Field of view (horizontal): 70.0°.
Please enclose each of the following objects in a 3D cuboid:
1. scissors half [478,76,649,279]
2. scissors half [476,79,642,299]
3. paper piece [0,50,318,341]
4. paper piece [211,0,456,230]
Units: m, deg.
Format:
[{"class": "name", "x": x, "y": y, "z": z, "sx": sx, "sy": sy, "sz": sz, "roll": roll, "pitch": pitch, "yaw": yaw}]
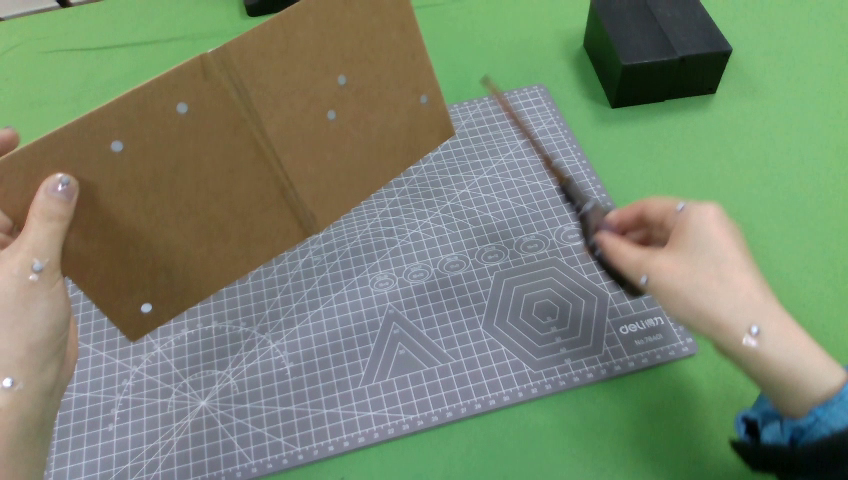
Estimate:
[{"class": "scissors half", "x": 0.094, "y": -0.042, "z": 0.407, "sx": 0.176, "sy": 0.013, "sz": 0.040, "roll": 47, "pitch": 38, "yaw": -8}, {"class": "scissors half", "x": 0.085, "y": -0.035, "z": 0.391, "sx": 0.175, "sy": 0.013, "sz": 0.040, "roll": 56, "pitch": 32, "yaw": 5}, {"class": "paper piece", "x": -0.151, "y": -0.020, "z": 0.358, "sx": 0.138, "sy": 0.137, "sz": 0.008, "roll": -32, "pitch": 35, "yaw": -13}, {"class": "paper piece", "x": -0.046, "y": -0.094, "z": 0.394, "sx": 0.135, "sy": 0.137, "sz": 0.004, "roll": -37, "pitch": 39, "yaw": -18}]
